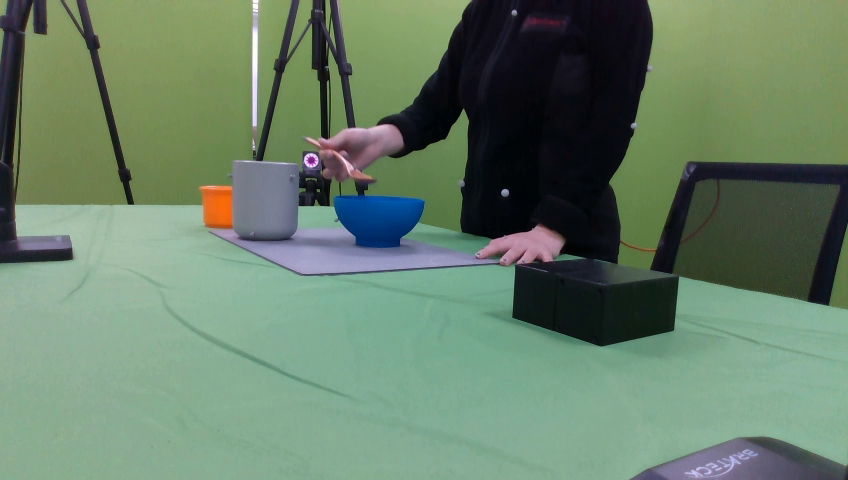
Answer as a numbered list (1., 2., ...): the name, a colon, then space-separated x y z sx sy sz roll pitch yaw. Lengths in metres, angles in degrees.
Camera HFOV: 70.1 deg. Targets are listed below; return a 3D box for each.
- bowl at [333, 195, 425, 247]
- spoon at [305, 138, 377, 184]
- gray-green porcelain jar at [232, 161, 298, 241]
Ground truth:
1. bowl: -0.074 -0.031 0.987 0.151 0.077 0.151 2 7 0
2. spoon: -0.146 -0.138 1.032 0.042 0.021 0.193 -7 36 -45
3. gray-green porcelain jar: -0.262 -0.065 0.999 0.106 0.126 0.106 3 7 0
